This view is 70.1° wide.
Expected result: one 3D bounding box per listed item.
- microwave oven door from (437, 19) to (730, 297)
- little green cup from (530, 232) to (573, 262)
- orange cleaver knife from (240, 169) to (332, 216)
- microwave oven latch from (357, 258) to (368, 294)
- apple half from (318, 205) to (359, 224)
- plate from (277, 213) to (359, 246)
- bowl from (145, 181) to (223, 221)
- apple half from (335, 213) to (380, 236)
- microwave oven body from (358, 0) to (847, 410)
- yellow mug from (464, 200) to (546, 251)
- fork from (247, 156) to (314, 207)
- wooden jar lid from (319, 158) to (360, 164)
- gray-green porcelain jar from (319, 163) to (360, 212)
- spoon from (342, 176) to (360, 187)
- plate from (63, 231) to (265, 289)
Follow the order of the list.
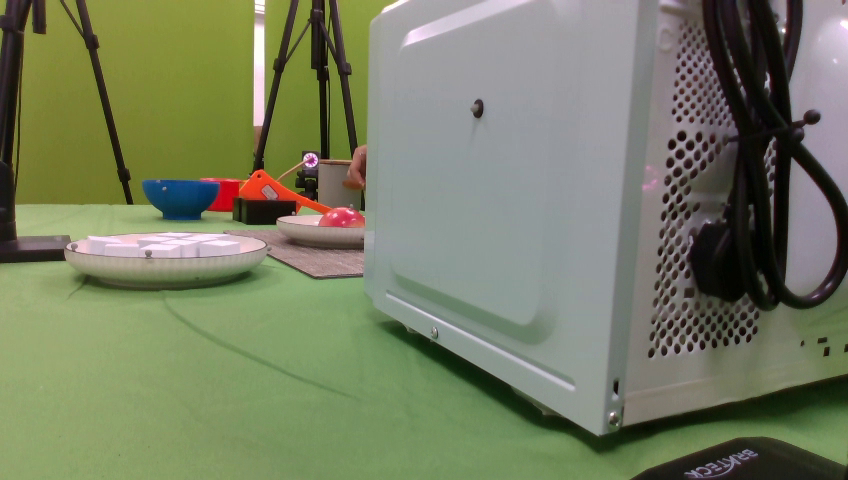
[{"bbox_3d":[0.181,-0.076,0.618,0.358,0.243,0.039,-2,9,-28],"label":"microwave oven door"},{"bbox_3d":[0.184,0.010,0.879,0.061,0.038,0.061,4,6,0],"label":"little green cup"},{"bbox_3d":[-0.286,-0.082,1.298,0.212,0.077,0.012,25,-2,-31],"label":"orange cleaver knife"},{"bbox_3d":[-0.019,0.031,0.529,0.079,0.029,0.030,-1,7,-27],"label":"microwave oven latch"},{"bbox_3d":[-0.126,-0.029,0.954,0.081,0.053,0.074,-2,11,-33],"label":"apple half"},{"bbox_3d":[-0.135,-0.018,0.993,0.209,0.038,0.209,2,7,0],"label":"plate"},{"bbox_3d":[-0.499,-0.081,1.261,0.151,0.077,0.151,2,7,0],"label":"bowl"},{"bbox_3d":[-0.112,-0.029,1.034,0.081,0.033,0.081,0,10,0],"label":"apple half"},{"bbox_3d":[0.210,-0.051,0.471,0.444,0.260,0.324,-1,7,-28],"label":"microwave oven body"},{"bbox_3d":[0.129,-0.027,0.941,0.131,0.064,0.099,-9,10,-14],"label":"yellow mug"},{"bbox_3d":[-0.360,-0.147,1.522,0.207,0.018,0.028,-43,14,-7],"label":"fork"},{"bbox_3d":[-0.203,-0.189,1.482,0.108,0.020,0.108,2,10,0],"label":"wooden jar lid"},{"bbox_3d":[-0.204,-0.126,1.489,0.106,0.126,0.106,2,7,0],"label":"gray-green porcelain jar"},{"bbox_3d":[-0.117,-0.116,1.220,0.041,0.021,0.194,4,5,14],"label":"spoon"},{"bbox_3d":[-0.288,0.021,0.687,0.208,0.039,0.207,2,8,0],"label":"plate"}]
